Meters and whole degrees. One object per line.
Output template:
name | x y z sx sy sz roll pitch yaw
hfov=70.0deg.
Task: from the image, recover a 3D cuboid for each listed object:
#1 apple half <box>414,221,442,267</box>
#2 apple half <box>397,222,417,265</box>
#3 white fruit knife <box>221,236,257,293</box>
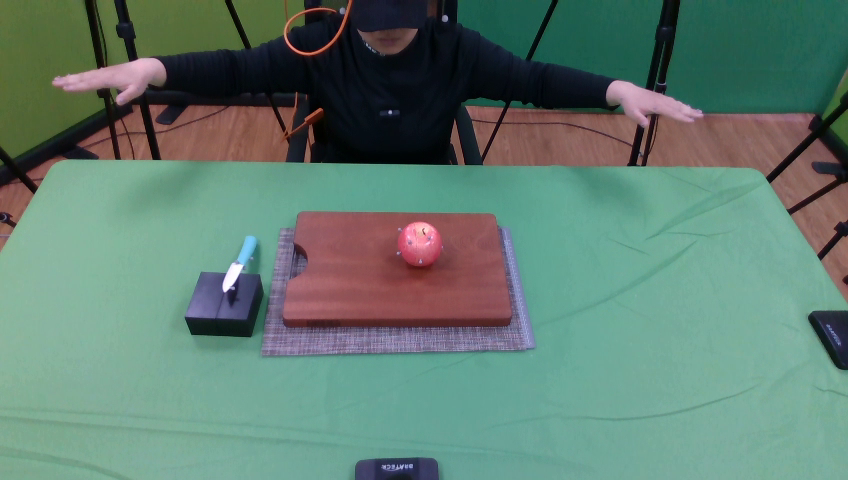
apple half | 0.006 0.009 1.115 0.053 0.075 0.080 0 42 -10
apple half | -0.033 0.010 1.110 0.033 0.081 0.081 -1 46 -9
white fruit knife | -0.333 0.043 1.094 0.027 0.016 0.206 2 27 -3
